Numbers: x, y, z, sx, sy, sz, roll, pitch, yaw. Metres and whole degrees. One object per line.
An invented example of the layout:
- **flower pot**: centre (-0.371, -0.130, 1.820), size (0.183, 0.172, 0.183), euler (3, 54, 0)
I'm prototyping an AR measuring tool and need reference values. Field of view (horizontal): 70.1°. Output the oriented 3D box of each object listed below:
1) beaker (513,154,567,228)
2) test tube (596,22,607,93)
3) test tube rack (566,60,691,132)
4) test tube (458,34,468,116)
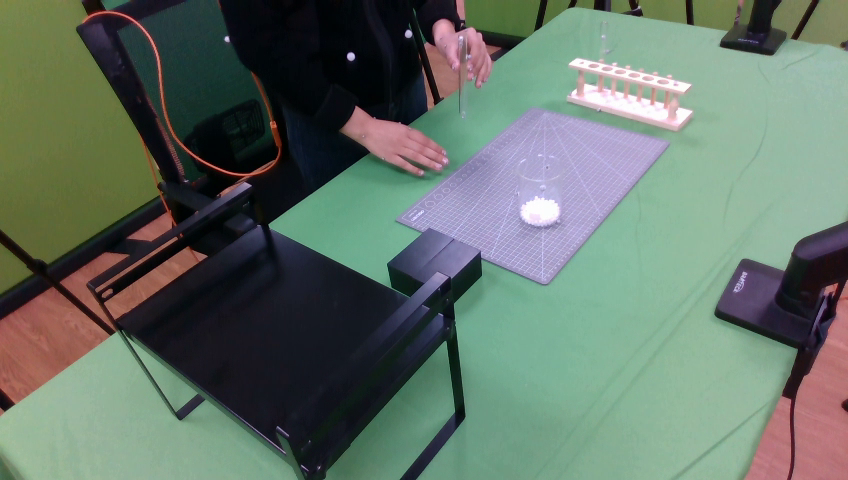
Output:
- **beaker**: centre (0.186, -0.077, 0.973), size (0.084, 0.101, 0.074), euler (1, 41, 11)
- **test tube**: centre (0.363, -0.372, 1.240), size (0.017, 0.151, 0.017), euler (-6, 40, 5)
- **test tube rack**: centre (0.411, -0.299, 1.217), size (0.240, 0.085, 0.067), euler (26, 51, 33)
- **test tube**: centre (0.069, -0.289, 1.068), size (0.017, 0.151, 0.017), euler (-2, 40, 2)
